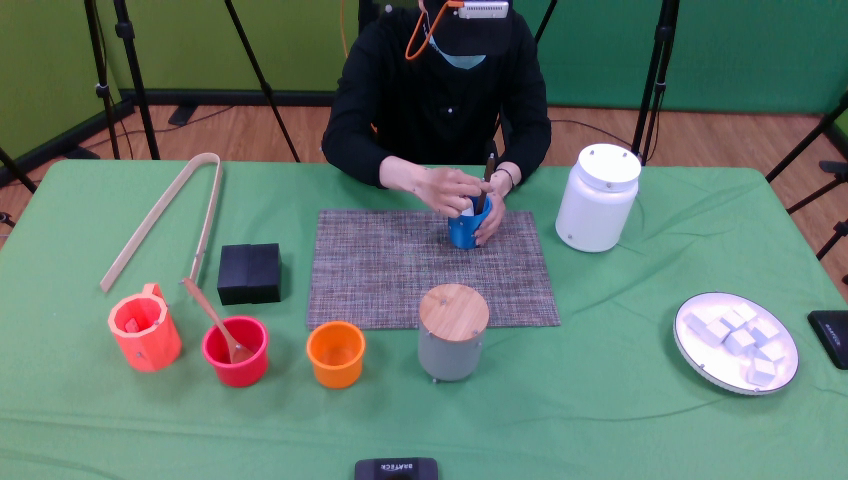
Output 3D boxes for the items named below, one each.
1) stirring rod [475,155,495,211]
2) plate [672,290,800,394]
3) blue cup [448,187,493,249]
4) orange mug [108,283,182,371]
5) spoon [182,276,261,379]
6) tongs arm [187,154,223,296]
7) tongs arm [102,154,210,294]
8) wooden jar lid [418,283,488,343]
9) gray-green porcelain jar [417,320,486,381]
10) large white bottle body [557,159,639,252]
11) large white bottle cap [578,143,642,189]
[{"bbox_3d":[0.106,-0.083,1.110,0.014,0.177,0.006,-13,48,-22],"label":"stirring rod"},{"bbox_3d":[0.533,0.179,1.050,0.208,0.039,0.206,2,46,-2],"label":"plate"},{"bbox_3d":[0.085,-0.037,1.182,0.093,0.101,0.092,3,45,-3],"label":"blue cup"},{"bbox_3d":[-0.445,0.134,0.982,0.083,0.101,0.125,-1,50,-5],"label":"orange mug"},{"bbox_3d":[-0.321,0.137,0.957,0.041,0.021,0.194,-36,102,-32],"label":"spoon"},{"bbox_3d":[-0.442,-0.044,1.199,0.051,0.027,0.382,-4,46,1],"label":"tongs arm"},{"bbox_3d":[-0.524,-0.046,1.203,0.028,0.028,0.385,4,45,13],"label":"tongs arm"},{"bbox_3d":[0.045,0.114,0.931,0.108,0.021,0.107,2,49,-2],"label":"wooden jar lid"},{"bbox_3d":[0.042,0.158,0.975,0.106,0.127,0.105,2,46,-2],"label":"gray-green porcelain jar"},{"bbox_3d":[0.340,-0.081,1.185,0.131,0.185,0.130,2,46,-1],"label":"large white bottle body"},{"bbox_3d":[0.344,-0.139,1.123,0.115,0.018,0.114,2,46,-2],"label":"large white bottle cap"}]
